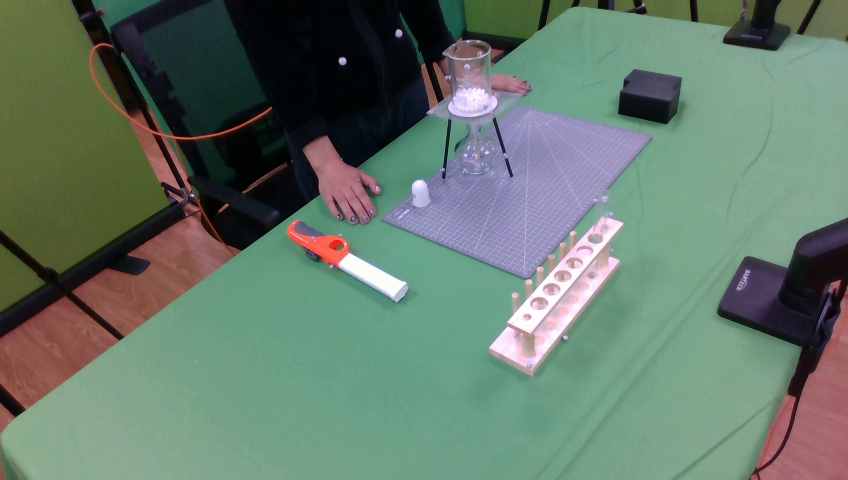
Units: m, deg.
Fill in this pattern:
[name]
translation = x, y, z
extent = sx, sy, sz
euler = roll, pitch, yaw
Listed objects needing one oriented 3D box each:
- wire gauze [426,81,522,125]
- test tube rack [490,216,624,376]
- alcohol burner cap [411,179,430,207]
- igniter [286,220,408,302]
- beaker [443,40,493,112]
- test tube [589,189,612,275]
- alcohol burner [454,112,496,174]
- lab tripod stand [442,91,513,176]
[wire gauze]
translation = 0.088, -0.237, 1.051
extent = 0.120, 0.011, 0.125
euler = 23, 47, 29
[test tube rack]
translation = 0.184, 0.064, 0.822
extent = 0.066, 0.085, 0.243
euler = 24, 50, 33
[alcohol burner cap]
translation = -0.008, -0.085, 1.063
extent = 0.034, 0.048, 0.033
euler = -4, 40, 4
[igniter]
translation = -0.134, 0.028, 0.969
extent = 0.274, 0.025, 0.057
euler = 26, 61, 35
[beaker]
translation = 0.076, -0.275, 1.023
extent = 0.083, 0.101, 0.074
euler = 5, 42, 16
[test tube]
translation = 0.238, -0.007, 0.818
extent = 0.017, 0.151, 0.017
euler = -3, 43, 4
[alcohol burner]
translation = 0.092, -0.181, 1.102
extent = 0.078, 0.119, 0.077
euler = -5, 42, 5
[lab tripod stand]
translation = 0.096, -0.190, 1.096
extent = 0.148, 0.132, 0.147
euler = -4, 40, 4
